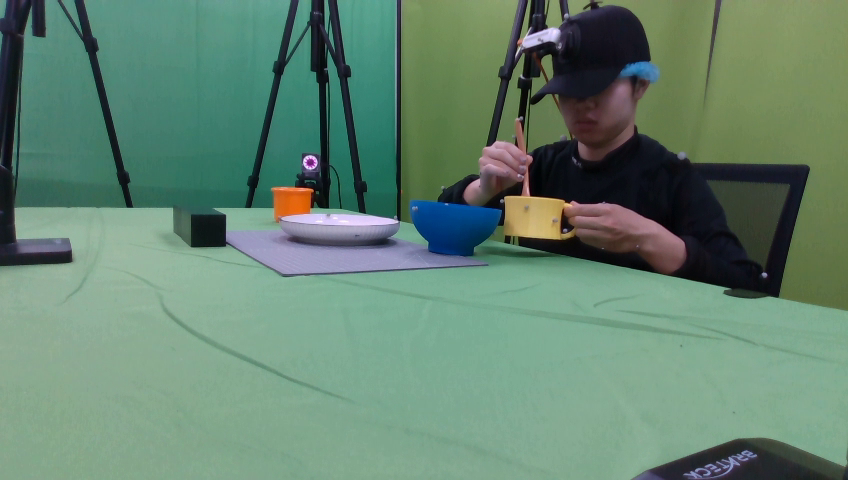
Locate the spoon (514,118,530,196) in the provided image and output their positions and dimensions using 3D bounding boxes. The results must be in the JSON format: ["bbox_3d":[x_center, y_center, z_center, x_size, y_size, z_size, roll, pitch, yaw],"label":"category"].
[{"bbox_3d":[0.165,-0.109,1.004,0.022,0.193,0.041,2,-11,-23],"label":"spoon"}]

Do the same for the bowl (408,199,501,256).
[{"bbox_3d":[0.045,-0.019,0.967,0.151,0.077,0.151,6,5,0],"label":"bowl"}]

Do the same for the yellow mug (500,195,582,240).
[{"bbox_3d":[0.194,-0.035,0.995,0.131,0.064,0.100,6,1,1],"label":"yellow mug"}]

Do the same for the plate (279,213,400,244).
[{"bbox_3d":[-0.147,-0.020,1.060,0.209,0.038,0.209,3,7,0],"label":"plate"}]
